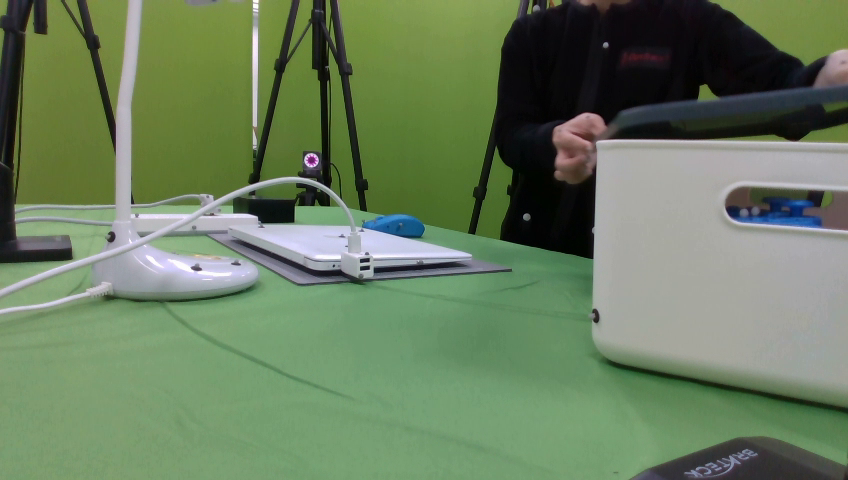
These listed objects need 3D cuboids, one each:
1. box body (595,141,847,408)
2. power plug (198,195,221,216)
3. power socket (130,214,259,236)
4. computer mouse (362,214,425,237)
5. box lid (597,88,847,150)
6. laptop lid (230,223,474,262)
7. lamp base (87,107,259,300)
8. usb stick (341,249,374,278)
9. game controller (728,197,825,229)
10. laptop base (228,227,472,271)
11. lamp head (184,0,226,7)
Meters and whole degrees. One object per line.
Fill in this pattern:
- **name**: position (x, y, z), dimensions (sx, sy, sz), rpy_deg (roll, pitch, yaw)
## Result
- **box body**: position (0.309, 0.007, 0.510), dimensions (0.253, 0.160, 0.366), rpy_deg (6, 8, 29)
- **power plug**: position (-0.386, -0.055, 1.088), dimensions (0.035, 0.052, 0.072), rpy_deg (-1, 6, -24)
- **power socket**: position (-0.397, -0.028, 1.048), dimensions (0.228, 0.032, 0.072), rpy_deg (-3, 7, -35)
- **computer mouse**: position (-0.057, -0.028, 1.139), dimensions (0.118, 0.041, 0.062), rpy_deg (-2, 9, -20)
- **box lid**: position (0.307, -0.109, 0.571), dimensions (0.263, 0.015, 0.372), rpy_deg (-5, 5, 13)
- **laptop lid**: position (-0.121, 0.000, 0.888), dimensions (0.243, 0.013, 0.355), rpy_deg (1, 7, -33)
- **lamp base**: position (-0.254, -0.039, 0.603), dimensions (0.160, 0.180, 0.179), rpy_deg (5, 10, 18)
- **usb stick**: position (-0.078, 0.026, 0.686), dimensions (0.021, 0.027, 0.059), rpy_deg (-8, 8, -30)
- **game controller**: position (0.256, -0.005, 0.445), dimensions (0.097, 0.051, 0.155), rpy_deg (1, 8, 15)
- **laptop base**: position (-0.124, 0.011, 0.889), dimensions (0.237, 0.023, 0.352), rpy_deg (2, 6, -35)
- **lamp head**: position (-0.229, -0.320, 0.627), dimensions (0.112, 0.112, 0.123), rpy_deg (6, -35, 26)
